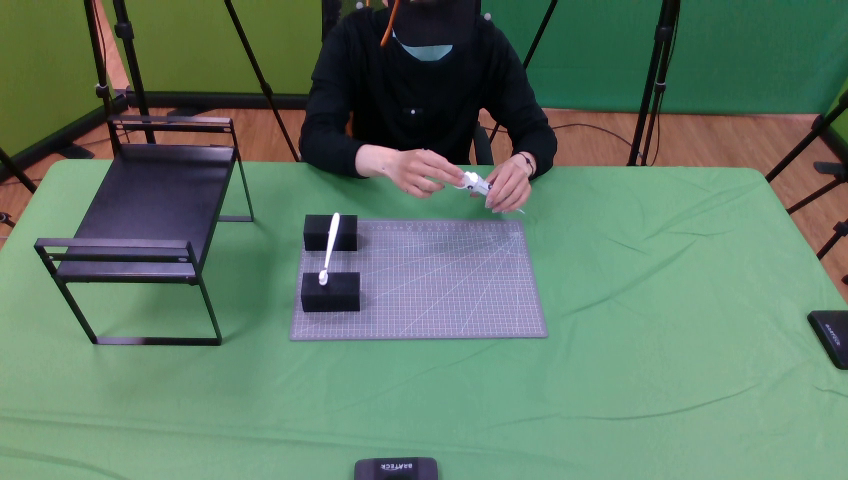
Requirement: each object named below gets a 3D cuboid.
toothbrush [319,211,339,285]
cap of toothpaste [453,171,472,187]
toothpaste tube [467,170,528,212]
[{"bbox_3d":[-0.172,0.009,1.103,0.014,0.017,0.181,-7,44,10],"label":"toothbrush"},{"bbox_3d":[0.071,-0.113,1.110,0.037,0.037,0.011,-2,43,-6],"label":"cap of toothpaste"},{"bbox_3d":[0.134,-0.093,1.173,0.166,0.034,0.054,24,13,-37],"label":"toothpaste tube"}]
